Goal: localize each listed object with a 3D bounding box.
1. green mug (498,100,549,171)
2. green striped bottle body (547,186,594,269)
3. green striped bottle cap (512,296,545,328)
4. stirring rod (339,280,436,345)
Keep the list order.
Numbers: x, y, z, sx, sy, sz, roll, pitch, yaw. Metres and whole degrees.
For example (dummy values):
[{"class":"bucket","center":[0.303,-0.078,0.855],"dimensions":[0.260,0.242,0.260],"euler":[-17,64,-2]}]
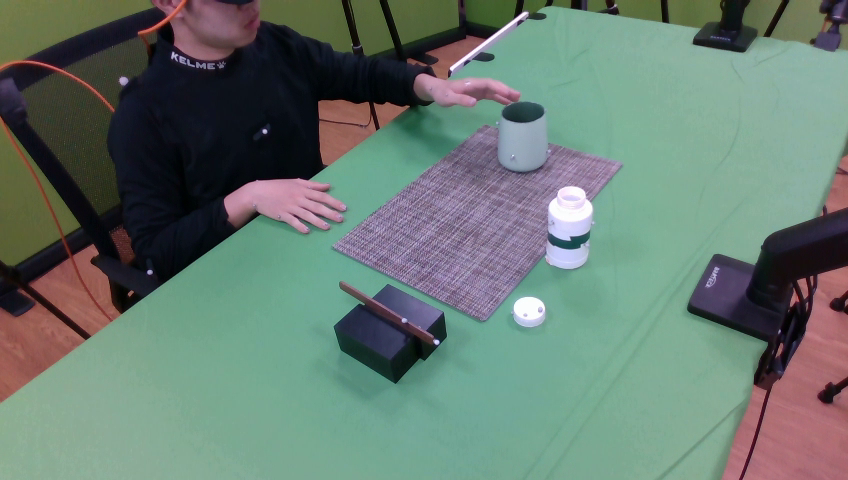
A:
[{"class":"green mug","center":[0.182,-0.197,1.101],"dimensions":[0.092,0.105,0.125],"euler":[3,42,12]},{"class":"green striped bottle body","center":[0.214,-0.020,0.886],"dimensions":[0.063,0.120,0.063],"euler":[-4,41,4]},{"class":"green striped bottle cap","center":[0.144,0.099,0.837],"dimensions":[0.044,0.020,0.044],"euler":[-2,44,2]},{"class":"stirring rod","center":[-0.052,0.093,0.796],"dimensions":[0.174,0.014,0.006],"euler":[27,47,33]}]
